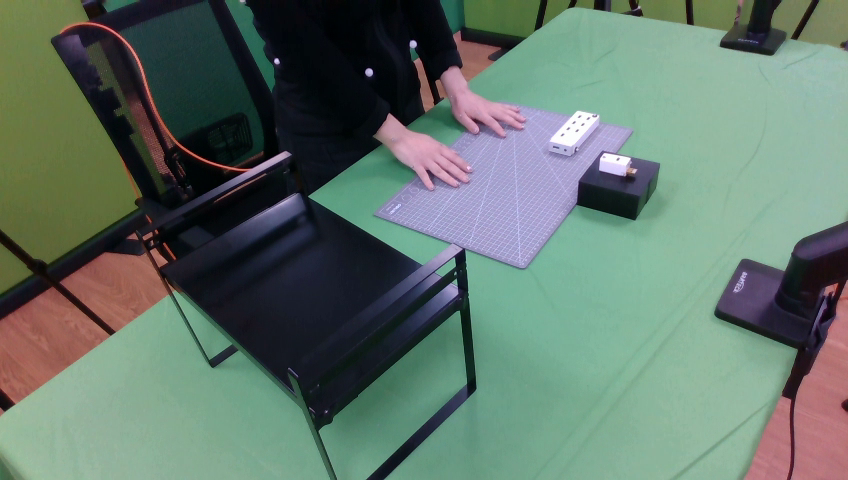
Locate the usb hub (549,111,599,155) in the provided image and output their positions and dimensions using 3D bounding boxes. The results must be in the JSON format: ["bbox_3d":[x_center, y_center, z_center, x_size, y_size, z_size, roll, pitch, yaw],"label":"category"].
[{"bbox_3d":[0.291,-0.207,1.166,0.049,0.025,0.125,21,49,29],"label":"usb hub"}]

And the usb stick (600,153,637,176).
[{"bbox_3d":[0.320,-0.122,0.990,0.059,0.027,0.021,21,45,26],"label":"usb stick"}]
